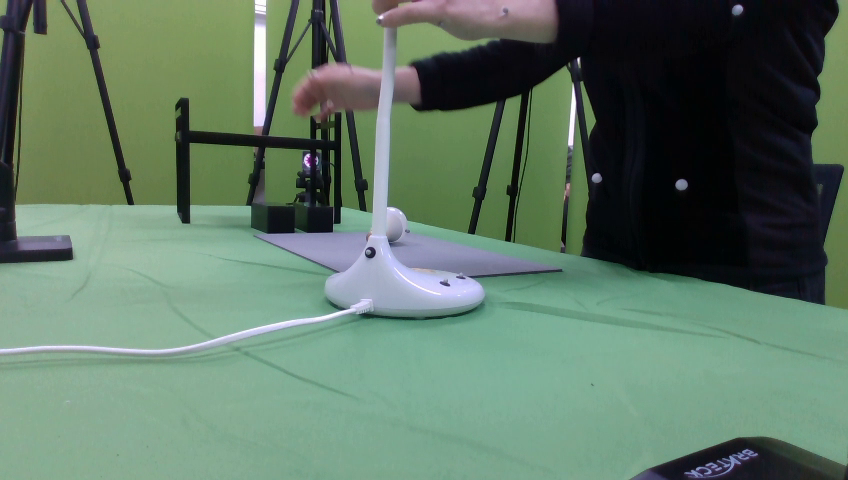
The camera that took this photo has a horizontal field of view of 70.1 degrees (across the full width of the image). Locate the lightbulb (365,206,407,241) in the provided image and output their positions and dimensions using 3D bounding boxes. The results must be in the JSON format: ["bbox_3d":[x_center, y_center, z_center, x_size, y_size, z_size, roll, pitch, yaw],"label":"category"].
[{"bbox_3d":[-0.067,-0.019,1.001,0.059,0.059,0.108,5,23,20],"label":"lightbulb"}]

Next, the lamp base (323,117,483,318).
[{"bbox_3d":[-0.021,-0.025,0.582,0.160,0.180,0.179,4,10,16],"label":"lamp base"}]
